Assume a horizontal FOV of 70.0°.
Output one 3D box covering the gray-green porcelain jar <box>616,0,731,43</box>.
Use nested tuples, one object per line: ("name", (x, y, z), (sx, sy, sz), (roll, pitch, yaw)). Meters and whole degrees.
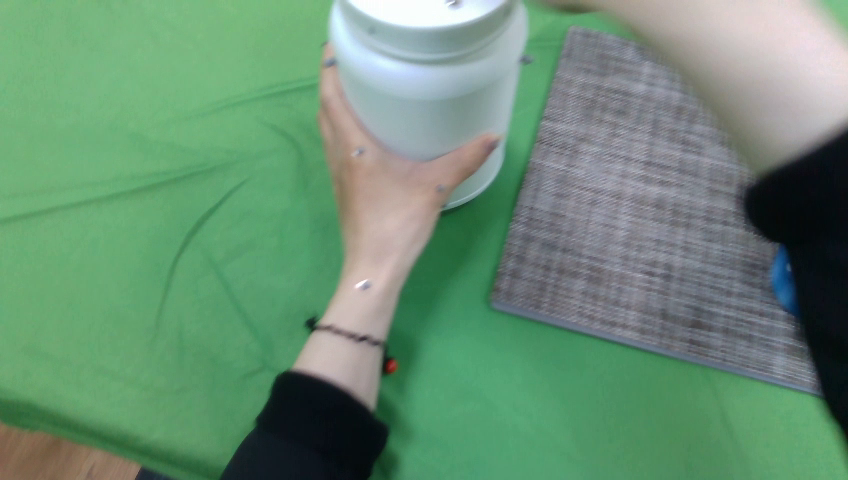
("gray-green porcelain jar", (0.238, -0.255, 0.551), (0.106, 0.127, 0.105), (0, 62, 0))

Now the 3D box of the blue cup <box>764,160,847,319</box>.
("blue cup", (0.288, 0.008, 0.418), (0.092, 0.101, 0.092), (0, 60, 1))

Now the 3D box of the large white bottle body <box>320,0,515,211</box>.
("large white bottle body", (-0.004, -0.120, 0.443), (0.130, 0.186, 0.129), (0, 61, 0))

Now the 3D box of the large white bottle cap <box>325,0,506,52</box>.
("large white bottle cap", (-0.005, -0.161, 0.368), (0.115, 0.018, 0.114), (0, 62, 0))
